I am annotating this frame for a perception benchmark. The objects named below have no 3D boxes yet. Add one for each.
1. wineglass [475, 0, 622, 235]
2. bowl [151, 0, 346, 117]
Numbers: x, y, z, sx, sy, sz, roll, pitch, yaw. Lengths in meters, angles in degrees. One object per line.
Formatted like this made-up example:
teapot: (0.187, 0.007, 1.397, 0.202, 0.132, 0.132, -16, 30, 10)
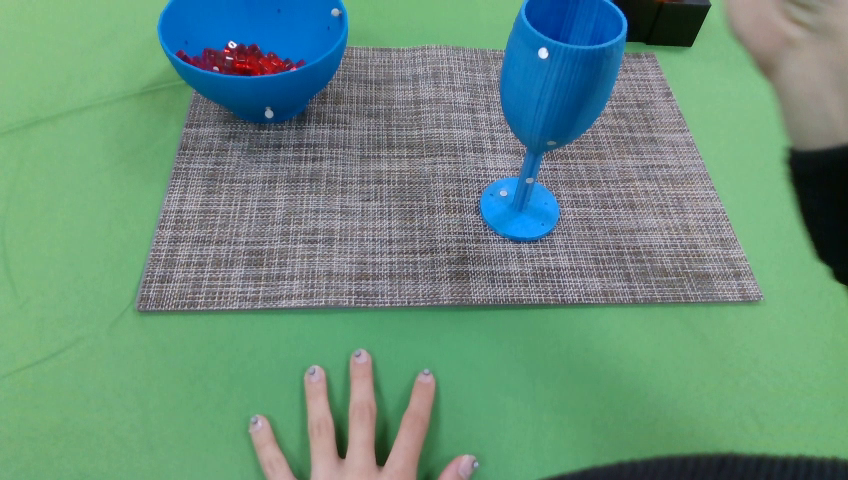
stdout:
wineglass: (0.078, -0.081, 0.418, 0.074, 0.173, 0.073, 2, 53, -3)
bowl: (-0.141, -0.159, 0.516, 0.151, 0.077, 0.150, 2, 54, -3)
